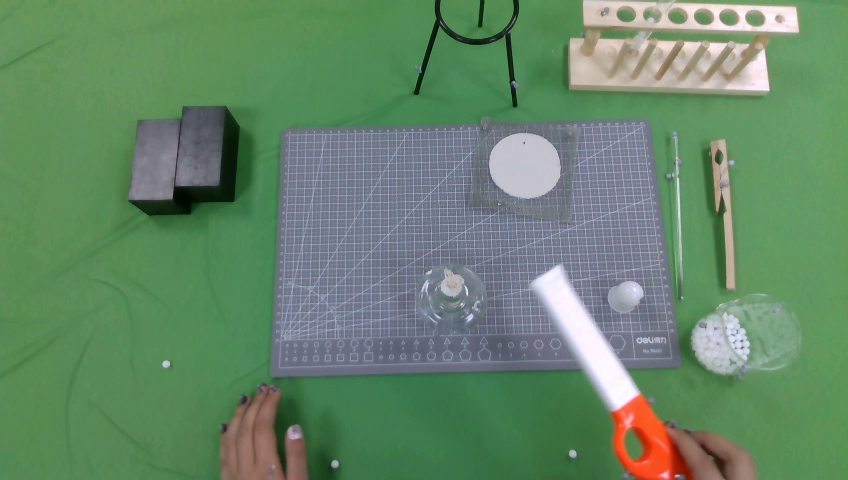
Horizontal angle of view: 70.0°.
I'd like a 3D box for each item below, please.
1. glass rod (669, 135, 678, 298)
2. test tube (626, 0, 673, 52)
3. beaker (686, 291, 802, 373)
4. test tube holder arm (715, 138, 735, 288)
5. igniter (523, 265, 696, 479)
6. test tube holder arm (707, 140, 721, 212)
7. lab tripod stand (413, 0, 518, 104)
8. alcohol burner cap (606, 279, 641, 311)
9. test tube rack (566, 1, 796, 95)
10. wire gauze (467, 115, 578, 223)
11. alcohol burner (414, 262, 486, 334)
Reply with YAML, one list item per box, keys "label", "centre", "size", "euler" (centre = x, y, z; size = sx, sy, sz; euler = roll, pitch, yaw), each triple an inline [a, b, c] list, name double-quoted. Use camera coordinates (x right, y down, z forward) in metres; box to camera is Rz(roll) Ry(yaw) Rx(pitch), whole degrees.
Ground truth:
- label: "glass rod"
  centre: [0.292, -0.030, 0.708]
  size: [0.008, 0.008, 0.198]
  euler: [4, 77, 2]
- label: "test tube"
  centre: [0.261, -0.257, 0.681]
  size: [0.017, 0.151, 0.017]
  euler: [1, 76, -4]
- label: "beaker"
  centre: [0.321, 0.097, 0.626]
  size: [0.083, 0.101, 0.074]
  euler: [29, 76, 10]
- label: "test tube holder arm"
  centre: [0.348, -0.033, 0.703]
  size: [0.013, 0.015, 0.177]
  euler: [-9, 72, 34]
- label: "igniter"
  centre: [0.172, 0.146, 0.517]
  size: [0.057, 0.025, 0.276]
  euler: [-31, 85, -16]
- label: "test tube holder arm"
  centre: [0.345, -0.076, 0.717]
  size: [0.010, 0.015, 0.087]
  euler: [-9, 72, 34]
- label: "lab tripod stand"
  centre: [0.053, -0.228, 0.703]
  size: [0.148, 0.132, 0.147]
  euler: [0, 76, 1]
- label: "alcohol burner cap"
  centre: [0.221, 0.058, 0.665]
  size: [0.034, 0.048, 0.033]
  euler: [0, 74, 1]
- label: "test tube rack"
  centre: [0.300, -0.228, 0.724]
  size: [0.242, 0.085, 0.066]
  euler: [2, 74, 2]
- label: "wire gauze"
  centre: [0.119, -0.088, 0.725]
  size: [0.125, 0.011, 0.121]
  euler: [10, 76, 3]
- label: "alcohol burner"
  centre: [0.027, 0.056, 0.630]
  size: [0.078, 0.120, 0.077]
  euler: [-1, 73, 3]
